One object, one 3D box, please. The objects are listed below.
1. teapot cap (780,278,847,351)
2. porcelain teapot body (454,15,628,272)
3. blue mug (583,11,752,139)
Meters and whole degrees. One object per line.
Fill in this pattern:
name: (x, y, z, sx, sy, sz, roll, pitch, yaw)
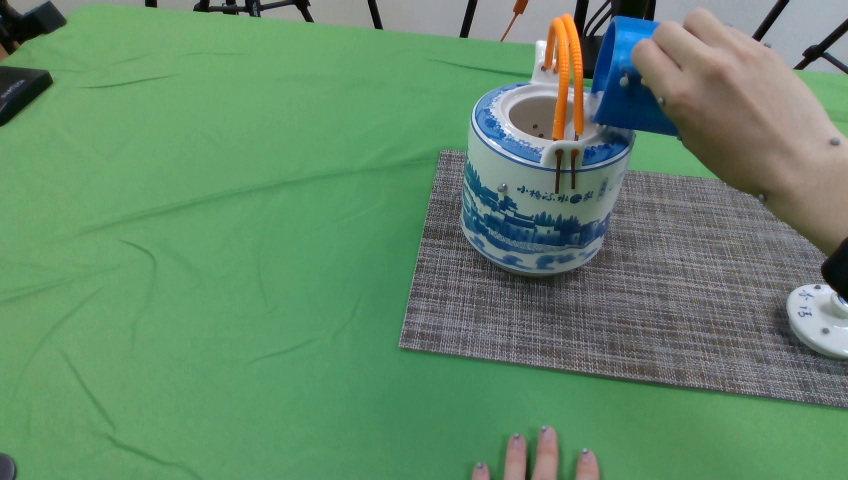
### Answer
teapot cap: (0.365, 0.061, 0.541, 0.085, 0.044, 0.084, 3, 43, -3)
porcelain teapot body: (0.106, -0.108, 0.570, 0.145, 0.227, 0.203, 2, 44, -2)
blue mug: (0.184, -0.126, 0.460, 0.106, 0.082, 0.116, 10, 12, 4)
